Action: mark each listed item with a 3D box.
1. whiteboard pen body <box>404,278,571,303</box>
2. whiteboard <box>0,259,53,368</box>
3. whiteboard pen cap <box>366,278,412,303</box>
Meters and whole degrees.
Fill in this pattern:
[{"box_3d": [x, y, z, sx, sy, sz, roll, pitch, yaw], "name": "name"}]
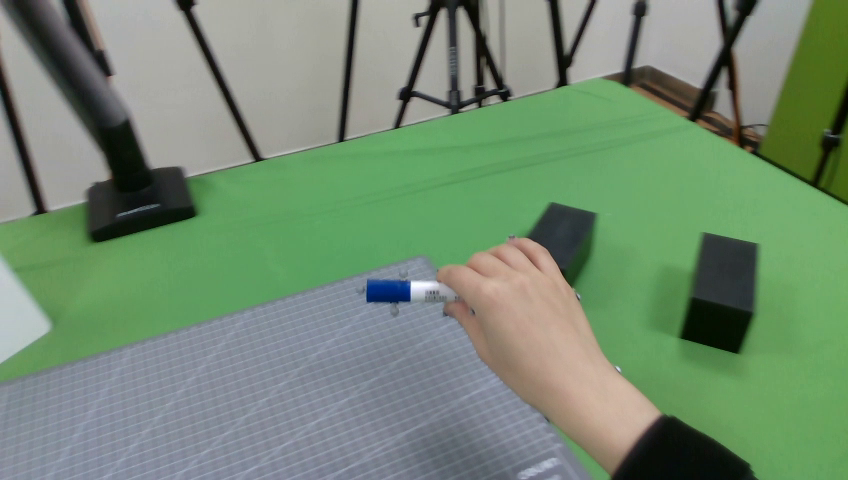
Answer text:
[{"box_3d": [0.034, 0.036, 0.430, 0.141, 0.017, 0.017, -1, 37, -4], "name": "whiteboard pen body"}, {"box_3d": [-0.512, 0.012, 0.486, 0.143, 0.308, 0.217, 2, 33, 40], "name": "whiteboard"}, {"box_3d": [-0.024, 0.035, 0.427, 0.033, 0.018, 0.018, 0, 37, -2], "name": "whiteboard pen cap"}]
